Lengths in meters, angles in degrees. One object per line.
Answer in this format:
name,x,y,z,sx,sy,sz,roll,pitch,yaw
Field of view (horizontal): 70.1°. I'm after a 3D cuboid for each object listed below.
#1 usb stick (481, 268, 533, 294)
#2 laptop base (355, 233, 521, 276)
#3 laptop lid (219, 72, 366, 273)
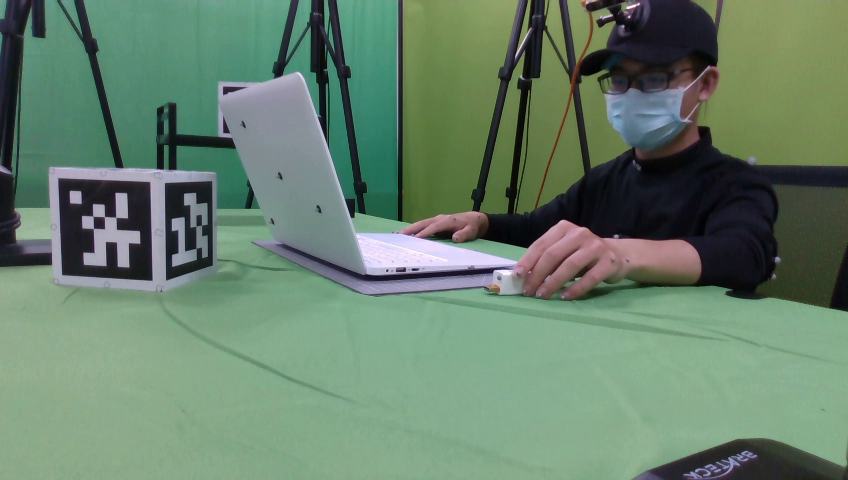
usb stick,0.092,0.046,0.675,0.059,0.027,0.021,-4,12,-24
laptop base,-0.056,0.018,0.897,0.237,0.023,0.352,2,6,-32
laptop lid,-0.189,-0.087,0.800,0.013,0.242,0.355,-26,21,-26
